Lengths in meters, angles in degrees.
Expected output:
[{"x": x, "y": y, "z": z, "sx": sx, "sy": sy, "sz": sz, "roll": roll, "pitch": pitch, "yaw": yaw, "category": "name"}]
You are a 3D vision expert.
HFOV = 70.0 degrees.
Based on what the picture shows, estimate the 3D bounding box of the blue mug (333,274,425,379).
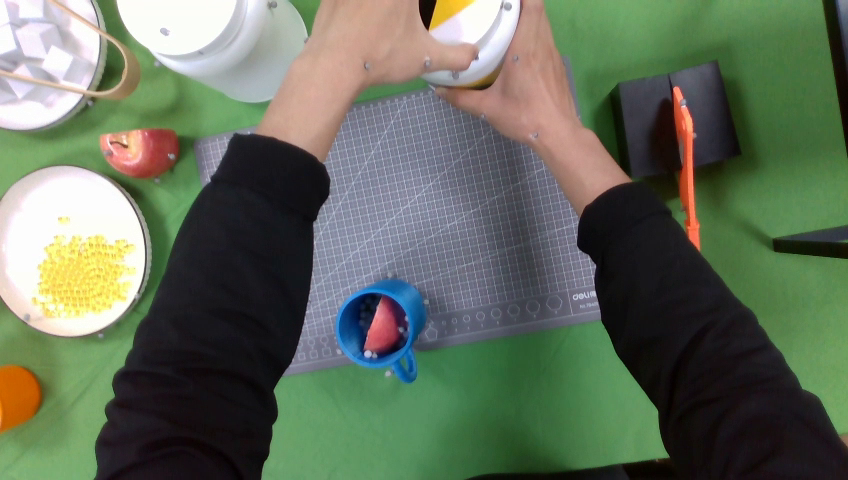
[{"x": -0.039, "y": 0.097, "z": 0.662, "sx": 0.082, "sy": 0.106, "sz": 0.116, "roll": -26, "pitch": 90, "yaw": 7, "category": "blue mug"}]

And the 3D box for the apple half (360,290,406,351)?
[{"x": -0.036, "y": 0.088, "z": 0.656, "sx": 0.032, "sy": 0.081, "sz": 0.081, "roll": 20, "pitch": 95, "yaw": 13, "category": "apple half"}]

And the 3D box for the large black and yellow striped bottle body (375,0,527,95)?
[{"x": 0.028, "y": -0.219, "z": 0.588, "sx": 0.130, "sy": 0.184, "sz": 0.131, "roll": 1, "pitch": 95, "yaw": 14, "category": "large black and yellow striped bottle body"}]

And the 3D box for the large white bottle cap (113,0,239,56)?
[{"x": -0.221, "y": -0.224, "z": 0.539, "sx": 0.115, "sy": 0.018, "sz": 0.115, "roll": 0, "pitch": 93, "yaw": 7, "category": "large white bottle cap"}]

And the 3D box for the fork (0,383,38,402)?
[{"x": -0.573, "y": 0.188, "z": 0.704, "sx": 0.209, "sy": 0.018, "sz": 0.028, "roll": 3, "pitch": 94, "yaw": -37, "category": "fork"}]

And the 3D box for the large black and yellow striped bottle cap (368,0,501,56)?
[{"x": 0.008, "y": -0.214, "z": 0.507, "sx": 0.115, "sy": 0.019, "sz": 0.115, "roll": 1, "pitch": 97, "yaw": 12, "category": "large black and yellow striped bottle cap"}]

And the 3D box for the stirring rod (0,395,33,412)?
[{"x": -0.560, "y": 0.206, "z": 0.706, "sx": 0.177, "sy": 0.006, "sz": 0.014, "roll": -5, "pitch": 81, "yaw": -34, "category": "stirring rod"}]

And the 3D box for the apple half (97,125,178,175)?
[{"x": -0.326, "y": -0.101, "z": 0.699, "sx": 0.081, "sy": 0.074, "sz": 0.053, "roll": -7, "pitch": 96, "yaw": 3, "category": "apple half"}]

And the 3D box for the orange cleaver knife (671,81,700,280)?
[{"x": 0.273, "y": -0.058, "z": 0.634, "sx": 0.012, "sy": 0.076, "sz": 0.213, "roll": -9, "pitch": 119, "yaw": 15, "category": "orange cleaver knife"}]

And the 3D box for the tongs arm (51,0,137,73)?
[{"x": -0.484, "y": -0.300, "z": 0.690, "sx": 0.387, "sy": 0.028, "sz": 0.028, "roll": 32, "pitch": 90, "yaw": 5, "category": "tongs arm"}]

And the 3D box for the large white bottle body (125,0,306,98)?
[{"x": -0.210, "y": -0.227, "z": 0.623, "sx": 0.130, "sy": 0.184, "sz": 0.130, "roll": 0, "pitch": 92, "yaw": 7, "category": "large white bottle body"}]

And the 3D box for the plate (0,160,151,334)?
[{"x": -0.425, "y": 0.009, "z": 0.733, "sx": 0.209, "sy": 0.038, "sz": 0.209, "roll": 0, "pitch": 94, "yaw": 6, "category": "plate"}]

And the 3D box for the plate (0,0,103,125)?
[{"x": -0.476, "y": -0.240, "z": 0.723, "sx": 0.207, "sy": 0.039, "sz": 0.207, "roll": 0, "pitch": 94, "yaw": 6, "category": "plate"}]

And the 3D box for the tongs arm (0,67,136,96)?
[{"x": -0.516, "y": -0.223, "z": 0.696, "sx": 0.384, "sy": 0.026, "sz": 0.051, "roll": 18, "pitch": 92, "yaw": 7, "category": "tongs arm"}]
